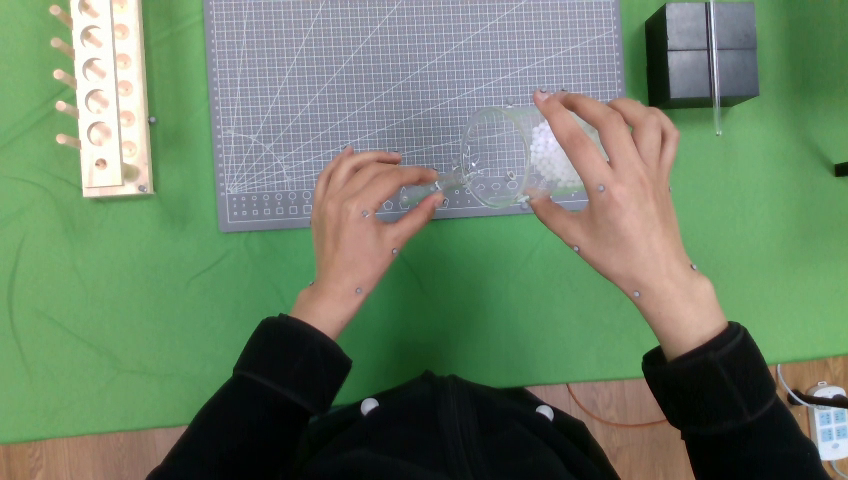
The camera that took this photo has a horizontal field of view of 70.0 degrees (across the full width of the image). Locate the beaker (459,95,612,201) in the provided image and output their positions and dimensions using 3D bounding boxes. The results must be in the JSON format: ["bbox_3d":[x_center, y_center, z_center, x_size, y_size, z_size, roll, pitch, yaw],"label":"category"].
[{"bbox_3d":[0.086,-0.072,0.465,0.101,0.084,0.074,-12,84,-34],"label":"beaker"}]

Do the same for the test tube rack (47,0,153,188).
[{"bbox_3d":[-0.319,-0.176,0.585,0.067,0.085,0.242,-4,91,-5],"label":"test tube rack"}]

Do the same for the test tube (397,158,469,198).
[{"bbox_3d":[0.004,-0.053,0.542,0.017,0.149,0.017,1,87,-20],"label":"test tube"}]

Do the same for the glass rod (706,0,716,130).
[{"bbox_3d":[0.301,-0.215,0.636,0.008,0.008,0.199,-2,91,-5],"label":"glass rod"}]
